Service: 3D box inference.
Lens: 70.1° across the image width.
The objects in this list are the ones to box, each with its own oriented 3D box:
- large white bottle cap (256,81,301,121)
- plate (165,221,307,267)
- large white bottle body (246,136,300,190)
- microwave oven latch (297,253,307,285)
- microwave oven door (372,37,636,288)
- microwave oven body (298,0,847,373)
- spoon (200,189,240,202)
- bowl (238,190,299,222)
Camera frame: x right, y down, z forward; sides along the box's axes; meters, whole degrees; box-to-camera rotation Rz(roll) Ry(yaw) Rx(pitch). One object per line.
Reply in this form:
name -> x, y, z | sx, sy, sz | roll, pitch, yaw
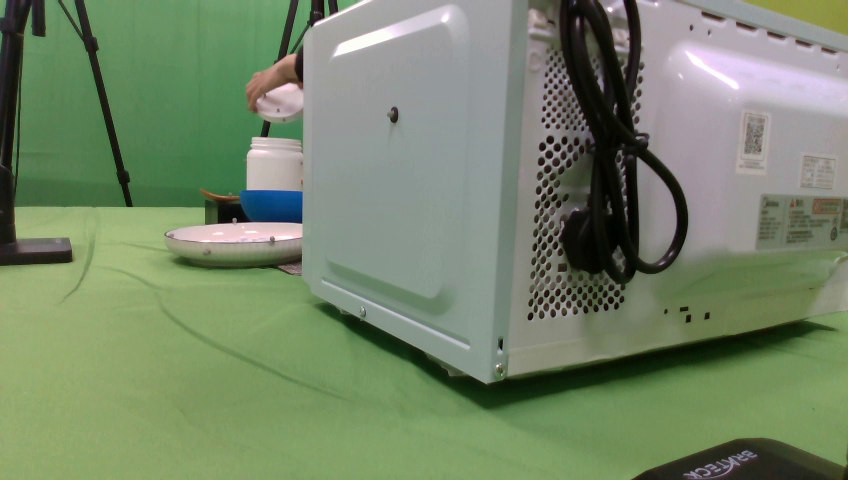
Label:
large white bottle cap -> -0.313, -0.309, 1.339 | 0.115, 0.114, 0.018 | 3, -34, 1
plate -> -0.241, 0.004, 0.829 | 0.209, 0.038, 0.209 | 0, 9, 0
large white bottle body -> -0.343, -0.144, 1.400 | 0.131, 0.184, 0.130 | 2, 7, 0
microwave oven latch -> -0.082, 0.027, 0.582 | 0.079, 0.029, 0.030 | -1, 7, -32
microwave oven door -> 0.109, -0.080, 0.686 | 0.358, 0.243, 0.039 | -2, 9, -33
microwave oven body -> 0.151, -0.055, 0.542 | 0.444, 0.260, 0.324 | -2, 7, -33
spoon -> -0.339, -0.080, 1.189 | 0.194, 0.021, 0.041 | 5, 0, -19
bowl -> -0.245, -0.045, 1.052 | 0.151, 0.077, 0.151 | 2, 7, 0
